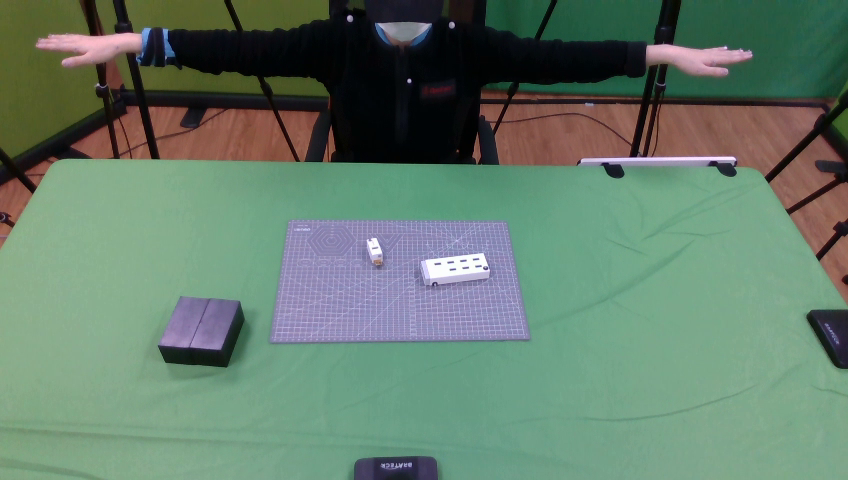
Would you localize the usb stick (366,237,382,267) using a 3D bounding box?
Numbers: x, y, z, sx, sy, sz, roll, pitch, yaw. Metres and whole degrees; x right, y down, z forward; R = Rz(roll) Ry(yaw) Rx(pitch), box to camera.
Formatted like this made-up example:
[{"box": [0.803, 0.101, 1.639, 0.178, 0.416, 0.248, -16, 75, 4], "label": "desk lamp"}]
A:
[{"box": [-0.093, 0.025, 1.159, 0.021, 0.027, 0.059, -10, 51, -15], "label": "usb stick"}]

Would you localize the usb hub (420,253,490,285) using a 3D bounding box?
[{"box": [0.059, 0.055, 1.142, 0.125, 0.025, 0.049, -7, 47, -10], "label": "usb hub"}]
